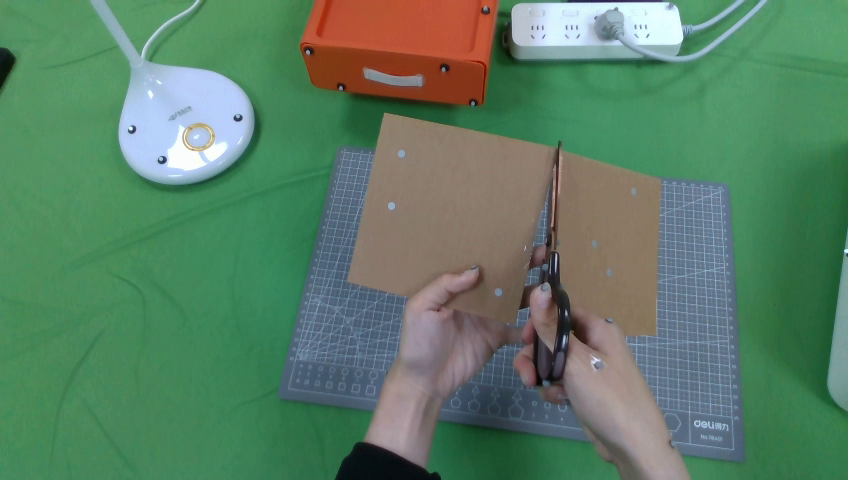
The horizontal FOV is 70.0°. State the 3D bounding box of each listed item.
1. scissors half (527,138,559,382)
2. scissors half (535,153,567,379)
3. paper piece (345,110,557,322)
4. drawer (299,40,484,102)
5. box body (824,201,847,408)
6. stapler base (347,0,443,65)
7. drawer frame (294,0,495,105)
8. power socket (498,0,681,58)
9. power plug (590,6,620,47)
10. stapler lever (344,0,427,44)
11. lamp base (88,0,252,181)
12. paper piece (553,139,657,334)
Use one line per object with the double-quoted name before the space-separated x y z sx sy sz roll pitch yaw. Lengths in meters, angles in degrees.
"scissors half" 0.087 0.012 0.430 0.013 0.040 0.175 7 87 2
"scissors half" 0.087 0.007 0.409 0.013 0.040 0.174 8 62 -3
"paper piece" 0.017 -0.019 0.454 0.135 0.008 0.138 14 96 13
"drawer" -0.019 -0.270 0.697 0.194 0.074 0.210 7 66 6
"box body" 0.546 0.014 0.553 0.253 0.161 0.362 19 68 10
"stapler base" -0.037 -0.252 0.709 0.129 0.024 0.041 36 88 19
"drawer frame" -0.021 -0.272 0.698 0.201 0.083 0.212 7 66 6
"power socket" 0.208 -0.265 0.761 0.227 0.033 0.071 1 67 2
"power plug" 0.216 -0.248 0.728 0.035 0.053 0.072 11 67 7
"stapler lever" -0.046 -0.258 0.685 0.117 0.040 0.027 36 88 20
"lamp base" -0.300 -0.180 0.661 0.178 0.182 0.160 38 72 20
"paper piece" 0.143 0.003 0.473 0.136 0.004 0.135 10 84 -38
